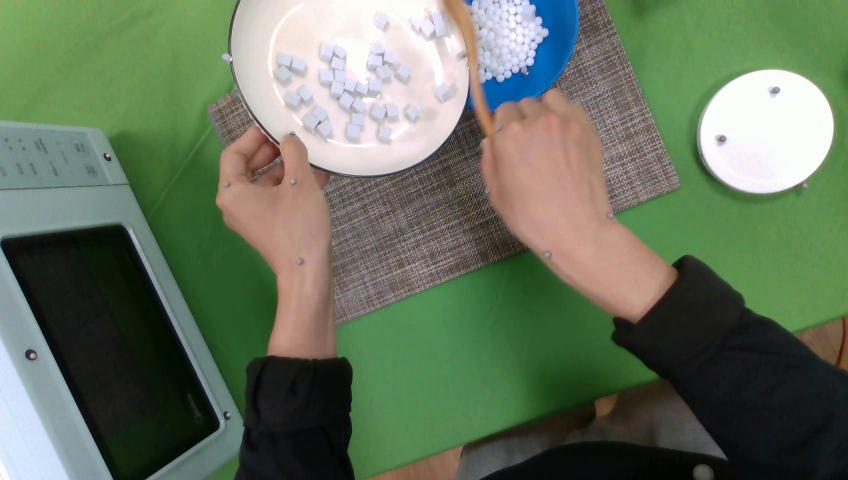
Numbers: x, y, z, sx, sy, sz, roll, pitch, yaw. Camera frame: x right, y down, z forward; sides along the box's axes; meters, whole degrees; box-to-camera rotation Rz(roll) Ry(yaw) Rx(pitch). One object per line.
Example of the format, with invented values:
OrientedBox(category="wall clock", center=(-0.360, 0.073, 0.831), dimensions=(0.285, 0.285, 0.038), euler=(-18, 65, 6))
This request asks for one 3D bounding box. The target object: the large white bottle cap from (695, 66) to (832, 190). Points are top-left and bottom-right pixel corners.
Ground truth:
OrientedBox(category="large white bottle cap", center=(0.317, -0.104, 0.569), dimensions=(0.114, 0.018, 0.115), euler=(2, 98, 14))

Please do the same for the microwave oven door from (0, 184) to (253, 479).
OrientedBox(category="microwave oven door", center=(-0.333, 0.111, 0.645), dimensions=(0.039, 0.244, 0.355), euler=(-26, 90, 17))

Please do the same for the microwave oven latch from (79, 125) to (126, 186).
OrientedBox(category="microwave oven latch", center=(-0.398, -0.100, 0.739), dimensions=(0.030, 0.029, 0.079), euler=(-25, 91, 17))

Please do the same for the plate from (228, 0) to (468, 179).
OrientedBox(category="plate", center=(-0.062, -0.153, 0.532), dimensions=(0.210, 0.038, 0.208), euler=(2, 83, -18))

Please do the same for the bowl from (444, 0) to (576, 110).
OrientedBox(category="bowl", center=(0.072, -0.200, 0.588), dimensions=(0.151, 0.077, 0.151), euler=(2, 99, 15))

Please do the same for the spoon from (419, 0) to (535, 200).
OrientedBox(category="spoon", center=(0.043, -0.116, 0.496), dimensions=(0.041, 0.022, 0.192), euler=(-31, 70, 25))

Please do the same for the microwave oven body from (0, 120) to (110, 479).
OrientedBox(category="microwave oven body", center=(-0.476, 0.133, 0.693), dimensions=(0.326, 0.260, 0.441), euler=(-26, 91, 17))
